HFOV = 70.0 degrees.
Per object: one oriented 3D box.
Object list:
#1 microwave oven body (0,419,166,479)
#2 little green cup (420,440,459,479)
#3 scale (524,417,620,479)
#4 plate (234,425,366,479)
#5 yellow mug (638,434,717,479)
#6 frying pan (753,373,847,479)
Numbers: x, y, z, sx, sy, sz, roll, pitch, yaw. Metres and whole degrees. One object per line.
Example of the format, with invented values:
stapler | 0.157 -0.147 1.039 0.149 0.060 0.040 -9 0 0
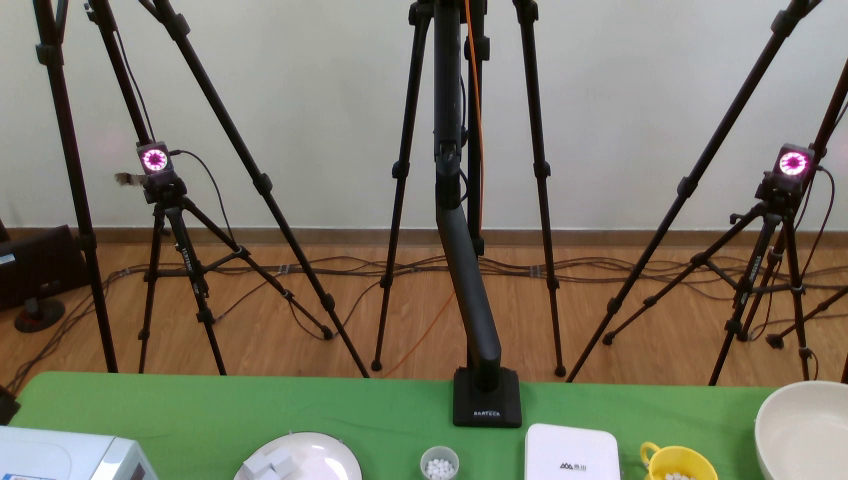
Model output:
microwave oven body | -0.538 0.461 0.689 0.326 0.262 0.438 3 40 6
little green cup | 0.026 0.358 0.972 0.061 0.039 0.061 -1 39 2
scale | 0.232 0.373 0.948 0.148 0.032 0.199 3 40 8
plate | -0.192 0.388 0.945 0.208 0.039 0.205 -1 39 1
yellow mug | 0.380 0.355 0.936 0.100 0.064 0.129 -21 42 -21
frying pan | 0.698 0.387 0.851 0.307 0.103 0.482 -17 33 -16
